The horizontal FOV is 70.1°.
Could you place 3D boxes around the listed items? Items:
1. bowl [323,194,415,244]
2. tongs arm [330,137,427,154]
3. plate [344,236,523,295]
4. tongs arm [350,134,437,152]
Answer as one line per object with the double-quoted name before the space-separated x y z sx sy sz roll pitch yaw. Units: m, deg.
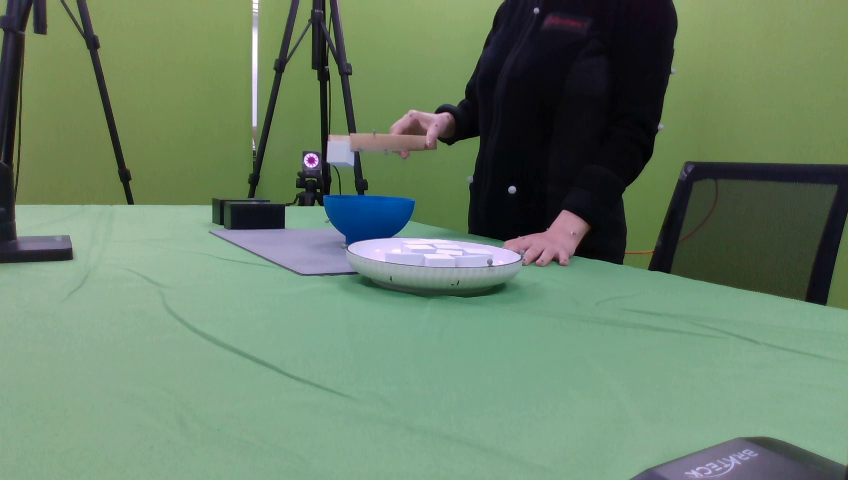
"bowl" -0.091 -0.032 0.986 0.151 0.077 0.151 2 7 0
"tongs arm" -0.071 -0.171 1.083 0.028 0.028 0.388 -8 6 20
"plate" 0.010 0.030 0.707 0.208 0.039 0.207 3 8 0
"tongs arm" -0.050 -0.172 1.075 0.050 0.026 0.386 -4 8 25
